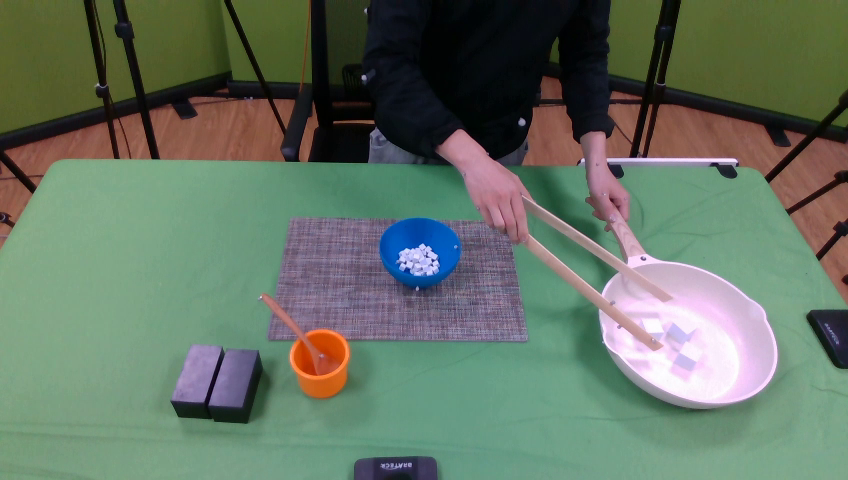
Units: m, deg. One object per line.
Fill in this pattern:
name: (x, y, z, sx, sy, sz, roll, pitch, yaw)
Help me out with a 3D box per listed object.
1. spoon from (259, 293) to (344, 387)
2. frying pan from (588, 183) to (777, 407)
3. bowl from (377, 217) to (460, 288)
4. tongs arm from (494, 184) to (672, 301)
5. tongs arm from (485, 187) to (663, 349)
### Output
spoon: (-0.191, 0.155, 0.947, 0.021, 0.194, 0.041, -13, 27, 50)
frying pan: (0.412, 0.079, 1.096, 0.307, 0.103, 0.484, -9, 56, -14)
bowl: (-0.011, 0.036, 1.118, 0.151, 0.077, 0.150, 2, 46, -2)
tongs arm: (0.279, 0.008, 1.060, 0.388, 0.028, 0.028, 32, 57, -11)
tongs arm: (0.254, 0.050, 1.021, 0.385, 0.026, 0.050, 38, 53, -6)
